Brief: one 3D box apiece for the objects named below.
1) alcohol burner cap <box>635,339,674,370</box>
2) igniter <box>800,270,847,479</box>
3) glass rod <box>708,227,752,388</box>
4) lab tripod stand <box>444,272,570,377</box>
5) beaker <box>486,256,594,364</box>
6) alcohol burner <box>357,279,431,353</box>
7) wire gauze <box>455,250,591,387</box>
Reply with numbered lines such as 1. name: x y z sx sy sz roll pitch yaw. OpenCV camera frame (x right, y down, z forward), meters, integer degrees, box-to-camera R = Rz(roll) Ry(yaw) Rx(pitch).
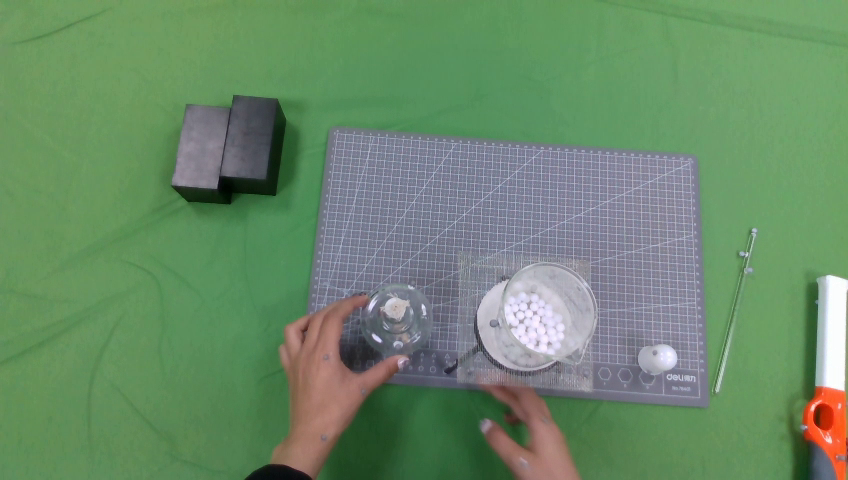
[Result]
1. alcohol burner cap: 0.253 0.123 0.658 0.034 0.048 0.033 0 75 1
2. igniter: 0.440 0.167 0.663 0.057 0.025 0.275 15 75 -9
3. glass rod: 0.352 0.074 0.695 0.008 0.008 0.199 20 76 3
4. lab tripod stand: 0.086 0.089 0.614 0.148 0.132 0.147 0 74 0
5. beaker: 0.092 0.066 0.502 0.074 0.101 0.083 -27 76 -9
6. alcohol burner: -0.031 0.075 0.623 0.078 0.119 0.077 1 73 -2
7. wire gauze: 0.089 0.069 0.551 0.125 0.011 0.121 3 73 1
